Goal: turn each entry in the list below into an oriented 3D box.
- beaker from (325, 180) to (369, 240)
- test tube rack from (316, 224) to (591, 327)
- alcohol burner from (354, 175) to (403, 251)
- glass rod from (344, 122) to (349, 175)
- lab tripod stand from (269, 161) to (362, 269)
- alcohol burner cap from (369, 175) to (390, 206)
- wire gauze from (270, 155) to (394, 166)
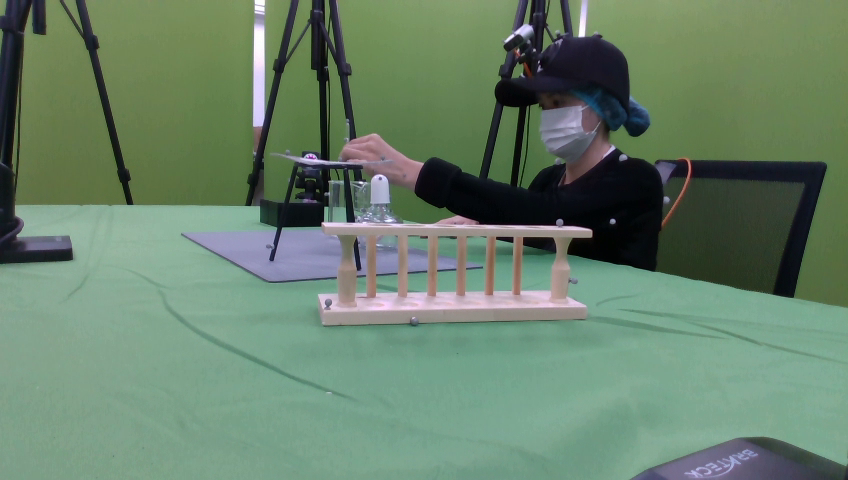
[{"bbox_3d":[-0.133,-0.052,1.058,0.074,0.100,0.083,-3,10,-36],"label":"beaker"},{"bbox_3d":[0.026,0.028,0.555,0.243,0.085,0.066,1,7,-14],"label":"test tube rack"},{"bbox_3d":[-0.072,-0.042,0.944,0.078,0.119,0.078,1,9,0],"label":"alcohol burner"},{"bbox_3d":[-0.133,-0.102,1.038,0.008,0.199,0.008,0,0,0],"label":"glass rod"},{"bbox_3d":[-0.125,-0.036,0.794,0.148,0.131,0.148,5,7,0],"label":"lab tripod stand"},{"bbox_3d":[-0.069,-0.077,0.939,0.034,0.048,0.034,-1,7,0],"label":"alcohol burner cap"},{"bbox_3d":[-0.122,-0.102,0.785,0.122,0.011,0.124,-3,10,-39],"label":"wire gauze"}]
